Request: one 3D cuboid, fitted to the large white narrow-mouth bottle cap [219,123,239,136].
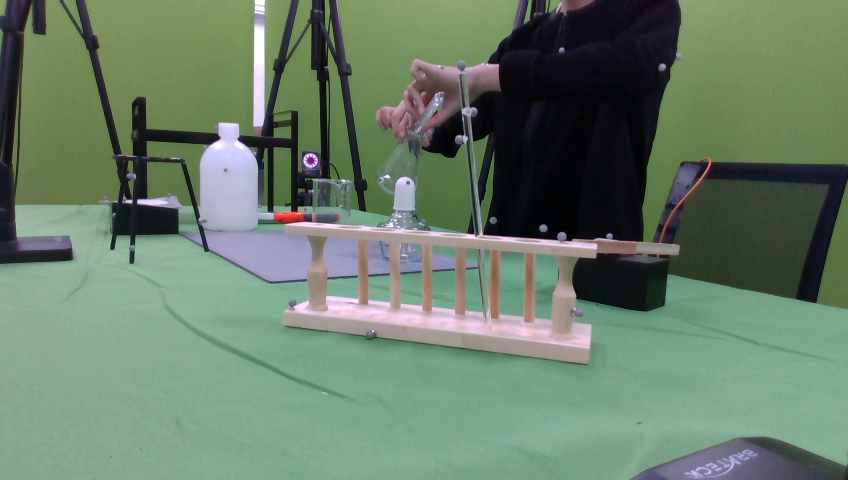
[{"bbox_3d":[-0.356,-0.201,1.104,0.038,0.024,0.037,2,8,0],"label":"large white narrow-mouth bottle cap"}]

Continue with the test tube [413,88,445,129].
[{"bbox_3d":[0.006,-0.194,0.902,0.017,0.017,0.150,0,-7,-13],"label":"test tube"}]

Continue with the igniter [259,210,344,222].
[{"bbox_3d":[-0.303,-0.049,1.258,0.278,0.025,0.057,-2,-2,-28],"label":"igniter"}]

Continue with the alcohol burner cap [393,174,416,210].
[{"bbox_3d":[-0.025,-0.067,0.833,0.034,0.048,0.034,4,12,0],"label":"alcohol burner cap"}]

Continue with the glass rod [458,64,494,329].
[{"bbox_3d":[0.039,-0.029,0.449,0.008,0.199,0.008,-7,9,1],"label":"glass rod"}]

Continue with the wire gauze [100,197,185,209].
[{"bbox_3d":[-0.469,-0.062,1.008,0.126,0.011,0.121,-2,8,-25],"label":"wire gauze"}]

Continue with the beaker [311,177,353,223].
[{"bbox_3d":[-0.167,-0.064,1.106,0.074,0.100,0.083,-2,9,-27],"label":"beaker"}]

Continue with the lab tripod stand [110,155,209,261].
[{"bbox_3d":[-0.361,-0.046,0.806,0.148,0.131,0.148,2,5,0],"label":"lab tripod stand"}]

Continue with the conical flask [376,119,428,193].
[{"bbox_3d":[-0.029,-0.142,1.013,0.075,0.121,0.075,15,41,-13],"label":"conical flask"}]

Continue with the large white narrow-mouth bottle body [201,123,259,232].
[{"bbox_3d":[-0.358,-0.116,1.116,0.102,0.194,0.102,2,8,0],"label":"large white narrow-mouth bottle body"}]

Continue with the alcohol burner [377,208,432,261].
[{"bbox_3d":[-0.027,-0.031,0.838,0.078,0.119,0.078,0,6,0],"label":"alcohol burner"}]

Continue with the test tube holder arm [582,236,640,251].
[{"bbox_3d":[0.194,0.004,0.629,0.088,0.015,0.010,1,13,-38],"label":"test tube holder arm"}]

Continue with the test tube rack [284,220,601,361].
[{"bbox_3d":[0.013,0.032,0.482,0.242,0.085,0.067,4,7,16],"label":"test tube rack"}]

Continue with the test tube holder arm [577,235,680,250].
[{"bbox_3d":[0.227,0.004,0.661,0.179,0.015,0.013,1,13,-38],"label":"test tube holder arm"}]
